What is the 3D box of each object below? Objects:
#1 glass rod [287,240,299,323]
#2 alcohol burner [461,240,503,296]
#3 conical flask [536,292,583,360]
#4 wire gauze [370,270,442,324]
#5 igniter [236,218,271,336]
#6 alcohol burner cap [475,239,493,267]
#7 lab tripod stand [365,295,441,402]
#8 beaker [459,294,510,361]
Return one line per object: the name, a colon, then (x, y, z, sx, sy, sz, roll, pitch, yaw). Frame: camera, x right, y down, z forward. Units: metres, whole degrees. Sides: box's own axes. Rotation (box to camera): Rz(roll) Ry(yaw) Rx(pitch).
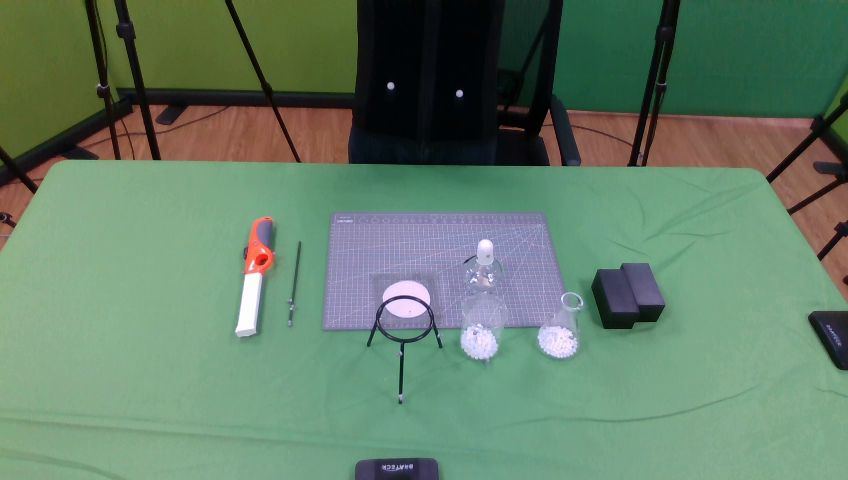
glass rod: (-0.241, 0.072, 1.120, 0.008, 0.008, 0.198, -1, 46, -4)
alcohol burner: (0.107, 0.045, 1.098, 0.078, 0.120, 0.077, 2, 44, -1)
conical flask: (0.234, 0.139, 1.015, 0.075, 0.122, 0.075, 2, 46, -2)
wire gauze: (-0.035, 0.104, 1.103, 0.125, 0.011, 0.120, -3, 46, -5)
igniter: (-0.312, 0.058, 1.115, 0.057, 0.025, 0.274, -8, 46, 1)
alcohol burner cap: (0.107, 0.020, 1.071, 0.034, 0.048, 0.033, -2, 46, 2)
lab tripod stand: (-0.031, 0.160, 0.966, 0.148, 0.132, 0.147, 3, 44, -2)
beaker: (0.094, 0.147, 1.012, 0.083, 0.101, 0.074, 26, 49, 21)
